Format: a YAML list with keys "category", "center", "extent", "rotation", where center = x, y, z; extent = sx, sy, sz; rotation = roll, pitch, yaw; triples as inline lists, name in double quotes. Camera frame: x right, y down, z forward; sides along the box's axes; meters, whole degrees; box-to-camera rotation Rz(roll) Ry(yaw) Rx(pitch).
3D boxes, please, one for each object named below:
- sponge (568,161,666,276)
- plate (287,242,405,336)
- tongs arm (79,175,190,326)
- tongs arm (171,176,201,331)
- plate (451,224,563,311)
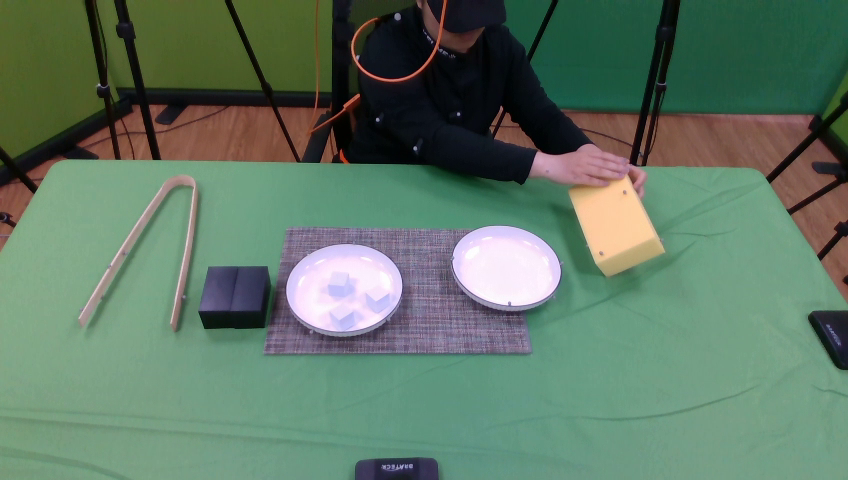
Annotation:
- category: "sponge"
  center: [0.375, -0.044, 1.194]
  extent: [0.118, 0.061, 0.205]
  rotation: [-30, 45, 22]
- category: "plate"
  center: [-0.138, 0.090, 1.084]
  extent: [0.208, 0.039, 0.206]
  rotation: [2, 46, -2]
- category: "tongs arm"
  center: [-0.534, 0.005, 1.145]
  extent: [0.051, 0.026, 0.382]
  rotation: [6, 45, 0]
- category: "tongs arm"
  center: [-0.453, 0.010, 1.151]
  extent: [0.028, 0.028, 0.385]
  rotation: [-6, 47, -6]
- category: "plate"
  center: [0.153, 0.054, 1.140]
  extent: [0.209, 0.038, 0.208]
  rotation: [2, 46, -2]
